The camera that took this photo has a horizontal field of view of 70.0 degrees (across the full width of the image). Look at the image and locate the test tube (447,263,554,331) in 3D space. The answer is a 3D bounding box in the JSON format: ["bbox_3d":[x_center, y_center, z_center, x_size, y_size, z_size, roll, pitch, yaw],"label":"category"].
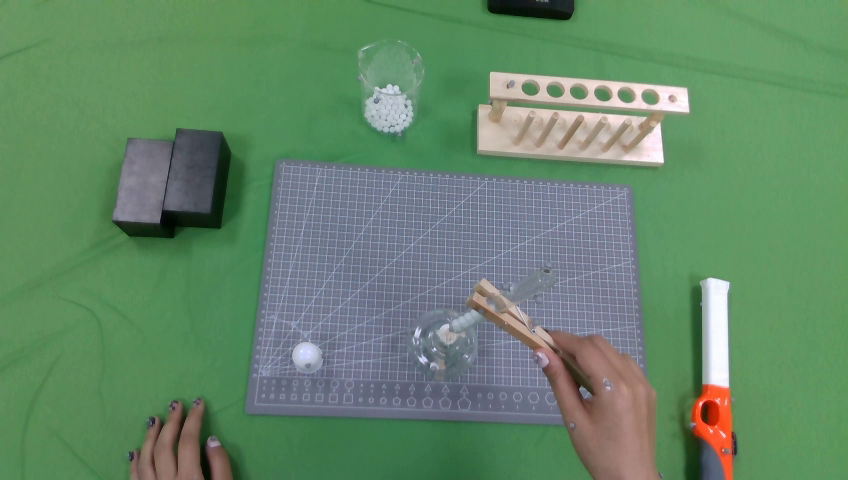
[{"bbox_3d":[0.056,0.050,0.493,0.017,0.150,0.017,10,65,-22],"label":"test tube"}]

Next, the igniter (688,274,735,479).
[{"bbox_3d":[0.331,0.173,0.699,0.057,0.025,0.275,13,72,-13],"label":"igniter"}]

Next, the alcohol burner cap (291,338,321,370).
[{"bbox_3d":[-0.128,0.121,0.653,0.034,0.048,0.033,2,73,-6],"label":"alcohol burner cap"}]

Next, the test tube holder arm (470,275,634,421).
[{"bbox_3d":[0.109,0.092,0.506,0.179,0.015,0.013,41,60,-7],"label":"test tube holder arm"}]

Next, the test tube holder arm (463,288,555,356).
[{"bbox_3d":[0.071,0.068,0.497,0.088,0.015,0.010,34,61,-11],"label":"test tube holder arm"}]

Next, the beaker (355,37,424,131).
[{"bbox_3d":[-0.046,-0.185,0.731,0.084,0.100,0.074,31,71,5],"label":"beaker"}]

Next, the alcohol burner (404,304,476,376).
[{"bbox_3d":[0.019,0.102,0.638,0.078,0.119,0.077,2,70,-6],"label":"alcohol burner"}]

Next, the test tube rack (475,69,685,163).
[{"bbox_3d":[0.190,-0.151,0.754,0.243,0.085,0.066,3,72,-5],"label":"test tube rack"}]
